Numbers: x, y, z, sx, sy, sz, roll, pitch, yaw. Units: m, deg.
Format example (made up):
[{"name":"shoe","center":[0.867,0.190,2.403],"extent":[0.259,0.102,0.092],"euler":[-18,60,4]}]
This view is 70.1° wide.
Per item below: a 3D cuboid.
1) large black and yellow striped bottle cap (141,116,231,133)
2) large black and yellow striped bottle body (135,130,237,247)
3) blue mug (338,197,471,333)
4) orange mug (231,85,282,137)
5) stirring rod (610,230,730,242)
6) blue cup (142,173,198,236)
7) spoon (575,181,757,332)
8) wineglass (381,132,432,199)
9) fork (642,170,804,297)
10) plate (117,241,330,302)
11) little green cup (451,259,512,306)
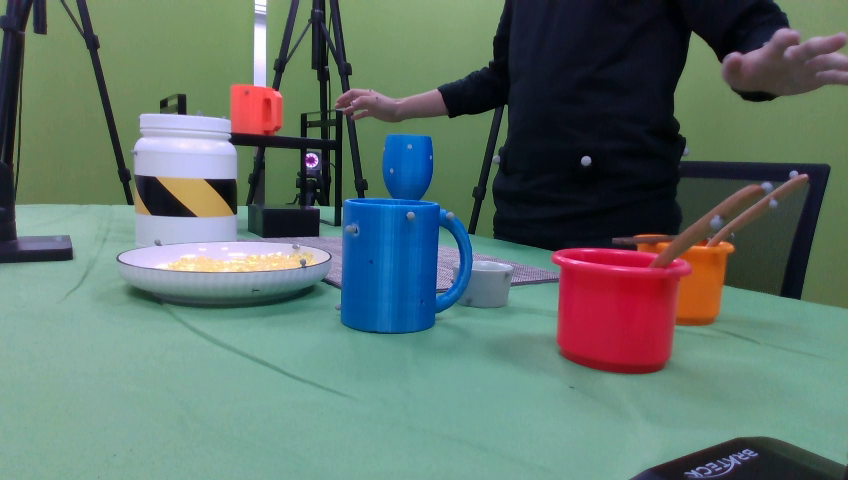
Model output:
[{"name":"large black and yellow striped bottle cap","center":[-0.324,-0.157,0.826],"extent":[0.115,0.019,0.115],"euler":[1,7,0]},{"name":"large black and yellow striped bottle body","center":[-0.327,-0.074,0.838],"extent":[0.131,0.184,0.130],"euler":[2,7,0]},{"name":"blue mug","center":[-0.016,0.018,0.523],"extent":[0.117,0.106,0.082],"euler":[1,7,-13]},{"name":"orange mug","center":[-0.335,-0.261,1.225],"extent":[0.125,0.100,0.084],"euler":[2,6,35]},{"name":"stirring rod","center":[0.241,-0.005,0.582],"extent":[0.177,0.006,0.014],"euler":[-3,9,-34]},{"name":"blue cup","center":[-0.425,-0.060,1.014],"extent":[0.093,0.100,0.092],"euler":[4,9,0]},{"name":"spoon","center":[0.156,0.020,0.412],"extent":[0.042,0.021,0.193],"euler":[1,-36,-16]},{"name":"wineglass","center":[-0.026,-0.062,0.841],"extent":[0.074,0.172,0.073],"euler":[2,7,0]},{"name":"fork","center":[0.261,0.004,0.545],"extent":[0.028,0.018,0.207],"euler":[6,-38,-15]},{"name":"plate","center":[-0.203,0.031,0.630],"extent":[0.209,0.038,0.209],"euler":[3,7,0]},{"name":"little green cup","center":[0.057,0.043,0.612],"extent":[0.061,0.038,0.061],"euler":[3,7,0]}]
